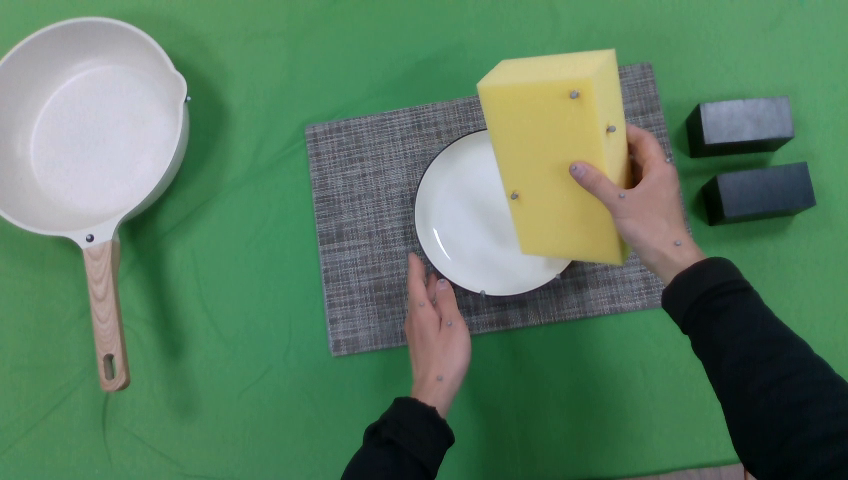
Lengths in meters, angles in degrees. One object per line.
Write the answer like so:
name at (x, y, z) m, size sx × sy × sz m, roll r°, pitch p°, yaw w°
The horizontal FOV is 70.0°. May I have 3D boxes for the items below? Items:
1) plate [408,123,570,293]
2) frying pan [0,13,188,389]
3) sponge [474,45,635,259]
plate at (0.086, -0.037, 0.731) m, size 0.207 × 0.039 × 0.207 m, roll -1°, pitch 81°, yaw 6°
frying pan at (-0.414, -0.052, 0.757) m, size 0.307 × 0.103 × 0.484 m, roll -17°, pitch 71°, yaw 4°
sponge at (0.139, -0.084, 0.619) m, size 0.117 × 0.209 × 0.060 m, roll 5°, pitch 40°, yaw 35°
